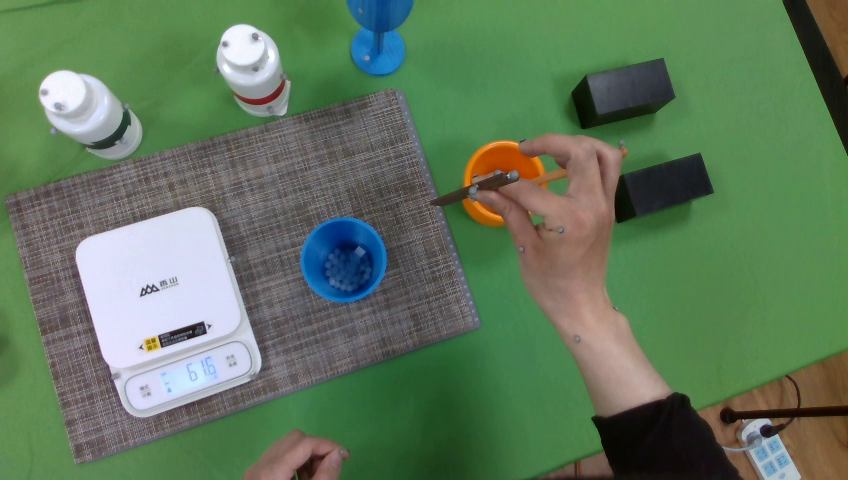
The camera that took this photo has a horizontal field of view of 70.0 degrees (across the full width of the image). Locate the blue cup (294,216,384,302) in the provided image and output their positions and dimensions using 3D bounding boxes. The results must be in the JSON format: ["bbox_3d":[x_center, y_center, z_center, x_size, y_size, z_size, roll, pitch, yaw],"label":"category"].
[{"bbox_3d":[-0.086,0.026,0.643,0.093,0.100,0.092,1,82,-4],"label":"blue cup"}]

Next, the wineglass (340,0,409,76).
[{"bbox_3d":[-0.054,-0.242,0.651,0.074,0.172,0.073,1,82,-5],"label":"wineglass"}]

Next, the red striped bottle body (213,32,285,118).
[{"bbox_3d":[-0.188,-0.181,0.655,0.063,0.120,0.063,1,81,-6],"label":"red striped bottle body"}]

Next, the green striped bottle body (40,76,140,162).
[{"bbox_3d":[-0.348,-0.127,0.630,0.063,0.119,0.063,1,81,-6],"label":"green striped bottle body"}]

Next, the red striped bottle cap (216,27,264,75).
[{"bbox_3d":[-0.183,-0.188,0.602,0.044,0.018,0.044,1,80,-5],"label":"red striped bottle cap"}]

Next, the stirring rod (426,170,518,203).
[{"bbox_3d":[0.033,-0.040,0.484,0.014,0.175,0.006,-1,88,-17],"label":"stirring rod"}]

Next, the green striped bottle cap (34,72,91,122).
[{"bbox_3d":[-0.343,-0.136,0.575,0.044,0.020,0.044,1,82,-4],"label":"green striped bottle cap"}]

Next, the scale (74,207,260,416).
[{"bbox_3d":[-0.274,0.075,0.651,0.149,0.031,0.200,-19,85,-8],"label":"scale"}]

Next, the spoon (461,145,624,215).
[{"bbox_3d":[0.123,-0.066,0.659,0.022,0.193,0.041,-13,88,-52],"label":"spoon"}]
